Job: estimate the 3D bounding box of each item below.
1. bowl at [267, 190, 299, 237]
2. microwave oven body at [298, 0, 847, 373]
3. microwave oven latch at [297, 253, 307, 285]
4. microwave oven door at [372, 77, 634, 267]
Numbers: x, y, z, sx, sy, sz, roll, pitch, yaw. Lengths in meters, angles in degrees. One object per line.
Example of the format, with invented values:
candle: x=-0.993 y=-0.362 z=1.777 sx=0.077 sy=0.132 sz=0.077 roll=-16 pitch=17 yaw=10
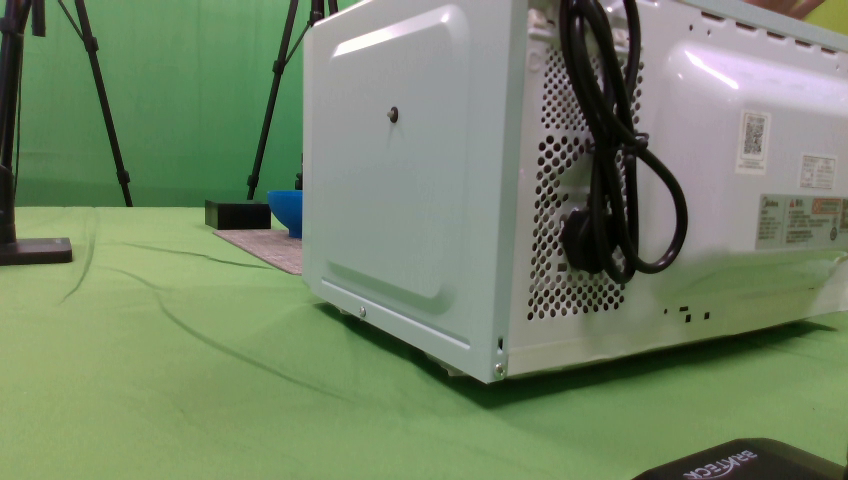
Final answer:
bowl: x=-0.202 y=-0.046 z=1.069 sx=0.151 sy=0.077 sz=0.151 roll=3 pitch=7 yaw=0
microwave oven body: x=0.151 y=-0.055 z=0.543 sx=0.444 sy=0.260 sz=0.324 roll=-1 pitch=7 yaw=-33
microwave oven latch: x=-0.082 y=0.027 z=0.583 sx=0.079 sy=0.029 sz=0.030 roll=-1 pitch=7 yaw=-32
microwave oven door: x=0.096 y=-0.099 z=0.837 sx=0.355 sy=0.243 sz=0.039 roll=5 pitch=8 yaw=20
